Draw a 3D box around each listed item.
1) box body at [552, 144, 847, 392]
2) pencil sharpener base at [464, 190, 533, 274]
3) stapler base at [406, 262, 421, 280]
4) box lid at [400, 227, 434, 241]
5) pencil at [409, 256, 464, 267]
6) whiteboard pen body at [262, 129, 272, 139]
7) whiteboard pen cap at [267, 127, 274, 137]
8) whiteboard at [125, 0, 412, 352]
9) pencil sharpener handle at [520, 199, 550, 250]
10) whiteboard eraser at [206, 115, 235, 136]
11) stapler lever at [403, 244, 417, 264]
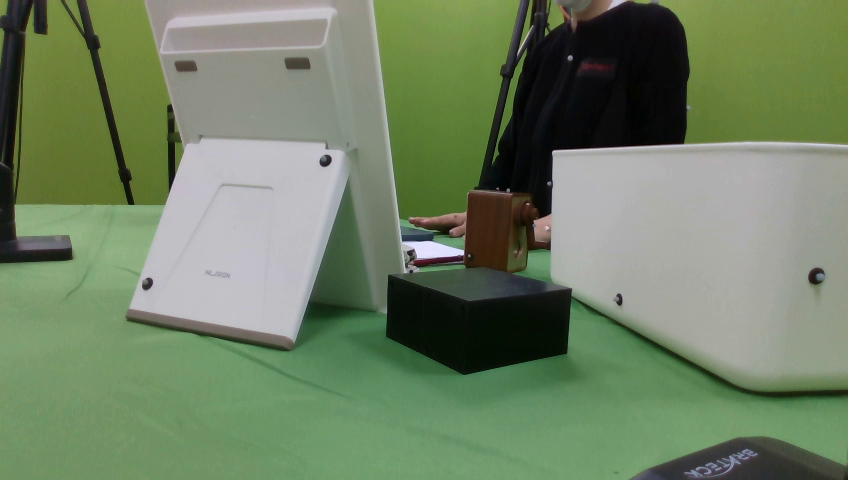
[{"bbox_3d":[0.290,0.002,0.549,0.255,0.160,0.363,2,7,-10],"label":"box body"},{"bbox_3d":[0.103,-0.012,0.813,0.076,0.107,0.061,8,9,36],"label":"pencil sharpener base"},{"bbox_3d":[-0.069,0.027,0.759,0.130,0.024,0.041,9,13,23],"label":"stapler base"},{"bbox_3d":[-0.196,-0.015,1.105,0.373,0.015,0.262,-1,7,-32],"label":"box lid"},{"bbox_3d":[0.041,0.028,0.850,0.195,0.012,0.012,-5,11,-45],"label":"pencil"},{"bbox_3d":[-0.361,-0.245,1.393,0.017,0.017,0.140,0,5,-20],"label":"whiteboard pen body"},{"bbox_3d":[-0.340,-0.239,1.338,0.018,0.018,0.033,1,-1,-15],"label":"whiteboard pen cap"},{"bbox_3d":[-0.151,-0.050,0.471,0.216,0.305,0.144,6,27,24],"label":"whiteboard"},{"bbox_3d":[0.147,-0.019,0.785,0.030,0.068,0.036,8,25,36],"label":"pencil sharpener handle"},{"bbox_3d":[-0.444,-0.250,1.322,0.056,0.042,0.112,-1,8,-15],"label":"whiteboard eraser"},{"bbox_3d":[-0.066,0.003,0.755,0.117,0.040,0.027,9,13,23],"label":"stapler lever"}]
